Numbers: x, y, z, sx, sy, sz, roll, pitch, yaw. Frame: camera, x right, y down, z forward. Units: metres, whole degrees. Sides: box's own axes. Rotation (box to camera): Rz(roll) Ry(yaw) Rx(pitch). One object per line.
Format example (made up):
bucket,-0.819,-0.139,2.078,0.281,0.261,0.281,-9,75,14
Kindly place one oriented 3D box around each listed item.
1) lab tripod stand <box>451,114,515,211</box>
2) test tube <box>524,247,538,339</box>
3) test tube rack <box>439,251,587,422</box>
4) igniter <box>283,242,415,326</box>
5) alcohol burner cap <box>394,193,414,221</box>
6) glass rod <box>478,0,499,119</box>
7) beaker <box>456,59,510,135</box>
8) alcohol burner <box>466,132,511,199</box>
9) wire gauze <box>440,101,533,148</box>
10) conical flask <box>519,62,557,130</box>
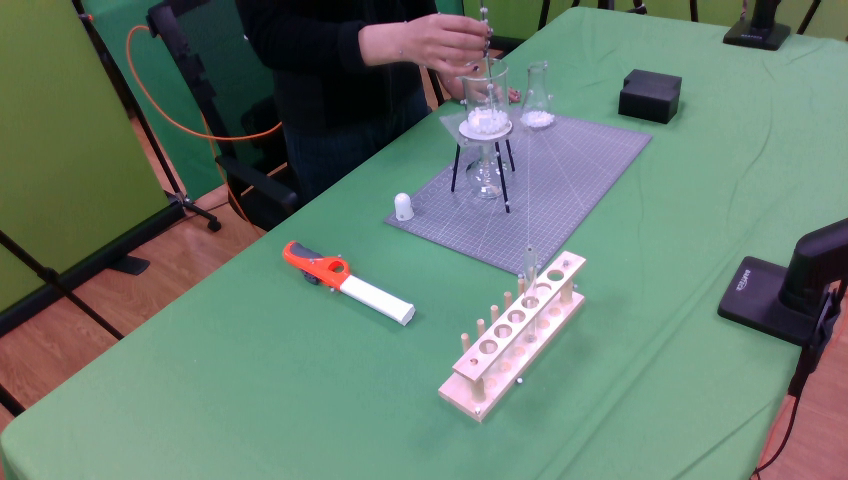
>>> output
lab tripod stand,0.113,-0.140,1.037,0.148,0.132,0.147,-6,38,5
test tube,0.133,0.070,0.749,0.017,0.151,0.017,-5,38,4
test tube rack,0.118,0.111,0.780,0.066,0.085,0.243,26,51,35
igniter,-0.126,0.062,0.931,0.274,0.025,0.057,24,61,33
alcohol burner cap,-0.036,-0.059,1.040,0.034,0.048,0.033,-5,41,5
glass rod,0.098,-0.272,0.905,0.008,0.201,0.008,-9,37,7
beaker,0.097,-0.226,0.964,0.084,0.101,0.073,-7,39,3
alcohol burner,0.110,-0.132,1.044,0.078,0.119,0.077,-6,38,5
wire gauze,0.100,-0.189,0.995,0.125,0.011,0.120,-16,37,-6
conical flask,0.225,-0.287,1.199,0.075,0.122,0.075,-6,40,5
